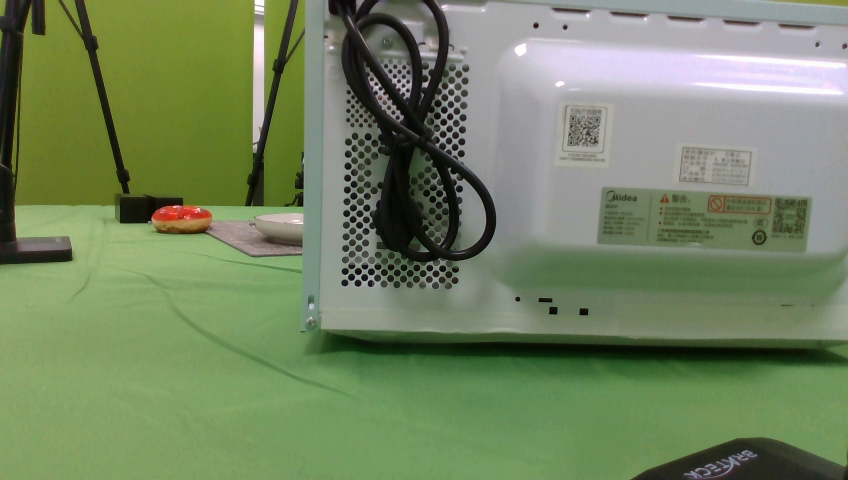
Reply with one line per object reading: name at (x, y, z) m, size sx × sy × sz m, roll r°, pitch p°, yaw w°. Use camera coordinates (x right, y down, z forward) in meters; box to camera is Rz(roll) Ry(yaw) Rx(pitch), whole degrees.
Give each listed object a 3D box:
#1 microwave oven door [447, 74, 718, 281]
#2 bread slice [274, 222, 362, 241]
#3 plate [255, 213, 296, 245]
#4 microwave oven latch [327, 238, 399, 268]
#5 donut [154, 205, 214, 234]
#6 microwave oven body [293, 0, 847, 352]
microwave oven door at (0.190, -0.090, 0.811) m, size 0.354 × 0.243 × 0.039 m, roll 8°, pitch 10°, yaw 36°
bread slice at (-0.181, -0.016, 1.011) m, size 0.104 × 0.019 × 0.132 m, roll 6°, pitch 8°, yaw 27°
plate at (-0.177, -0.018, 1.017) m, size 0.208 × 0.039 × 0.207 m, roll 2°, pitch 7°, yaw 0°
microwave oven latch at (-0.069, 0.015, 0.694) m, size 0.079 × 0.029 × 0.030 m, roll 3°, pitch 7°, yaw -3°
donut at (-0.426, -0.037, 1.075) m, size 0.099 × 0.048 × 0.099 m, roll 2°, pitch 12°, yaw 0°
microwave oven body at (0.122, -0.055, 0.550) m, size 0.442 × 0.260 × 0.325 m, roll 3°, pitch 7°, yaw -5°
